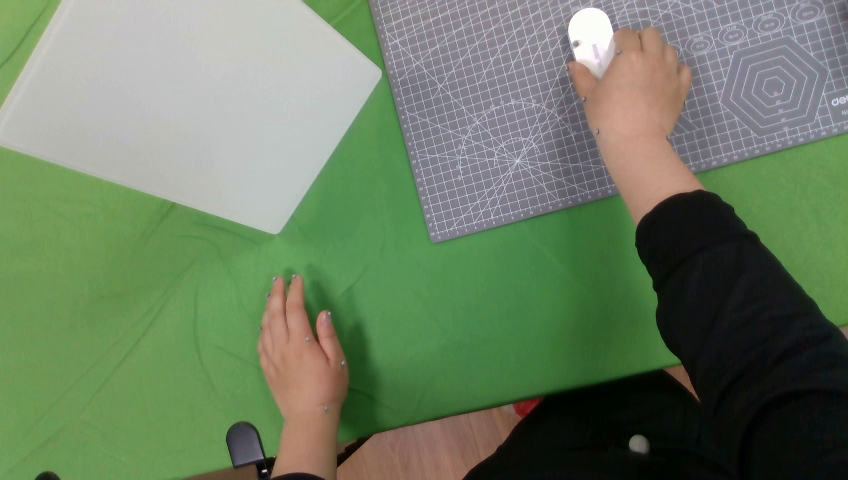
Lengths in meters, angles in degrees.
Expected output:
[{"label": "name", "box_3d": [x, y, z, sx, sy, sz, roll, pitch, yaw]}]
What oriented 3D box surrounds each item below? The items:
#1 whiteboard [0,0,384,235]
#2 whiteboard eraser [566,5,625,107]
[{"label": "whiteboard", "box_3d": [-0.220, -0.162, 0.570, 0.142, 0.308, 0.217, 39, 98, 29]}, {"label": "whiteboard eraser", "box_3d": [0.169, -0.183, 0.601, 0.041, 0.019, 0.101, -16, 88, 10]}]
